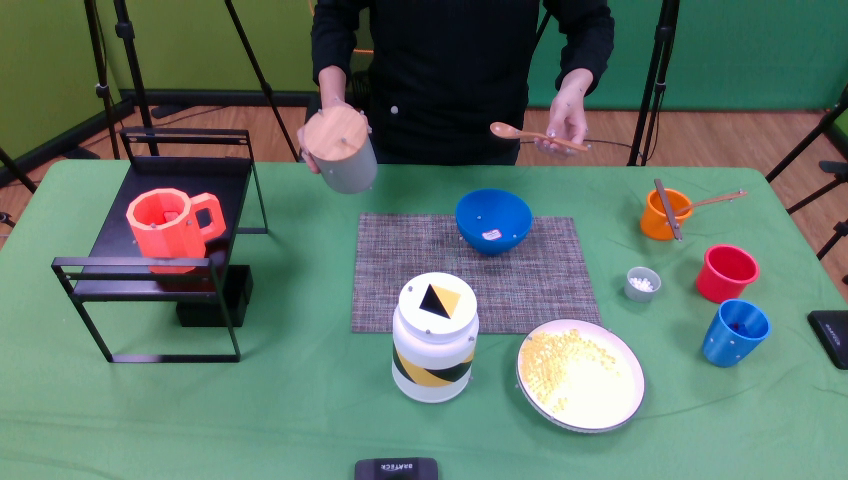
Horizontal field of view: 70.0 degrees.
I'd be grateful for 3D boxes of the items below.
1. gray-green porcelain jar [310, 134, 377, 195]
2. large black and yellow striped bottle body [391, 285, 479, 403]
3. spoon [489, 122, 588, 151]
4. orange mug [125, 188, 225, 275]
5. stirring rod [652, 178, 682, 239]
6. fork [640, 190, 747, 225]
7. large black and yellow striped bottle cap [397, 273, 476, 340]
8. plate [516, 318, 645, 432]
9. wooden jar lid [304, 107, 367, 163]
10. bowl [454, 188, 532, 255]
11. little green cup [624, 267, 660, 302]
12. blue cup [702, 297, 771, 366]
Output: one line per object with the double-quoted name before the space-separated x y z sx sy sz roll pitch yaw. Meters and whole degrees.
"gray-green porcelain jar" -0.143 -0.149 1.086 0.106 0.127 0.105 -3 65 6
"large black and yellow striped bottle body" 0.015 0.153 0.938 0.131 0.185 0.130 2 46 -2
"spoon" 0.189 -0.174 1.018 0.041 0.022 0.193 -31 36 -34
"orange mug" -0.357 -0.020 0.884 0.126 0.101 0.083 -29 54 -23
"stirring rod" 0.481 -0.065 1.204 0.014 0.006 0.175 2 46 -1
"fork" 0.533 -0.064 1.211 0.207 0.019 0.028 -22 28 38
"large black and yellow striped bottle cap" 0.018 0.094 0.878 0.115 0.019 0.114 3 46 -3
"plate" 0.253 0.221 0.992 0.209 0.038 0.208 2 46 -2
"wooden jar lid" -0.150 -0.176 1.030 0.108 0.021 0.108 -2 66 5
"bowl" 0.131 -0.025 1.186 0.151 0.077 0.150 2 46 -2
"little green cup" 0.406 0.084 1.135 0.061 0.039 0.061 3 45 -3
"blue cup" 0.519 0.162 1.025 0.093 0.101 0.092 3 45 -3
